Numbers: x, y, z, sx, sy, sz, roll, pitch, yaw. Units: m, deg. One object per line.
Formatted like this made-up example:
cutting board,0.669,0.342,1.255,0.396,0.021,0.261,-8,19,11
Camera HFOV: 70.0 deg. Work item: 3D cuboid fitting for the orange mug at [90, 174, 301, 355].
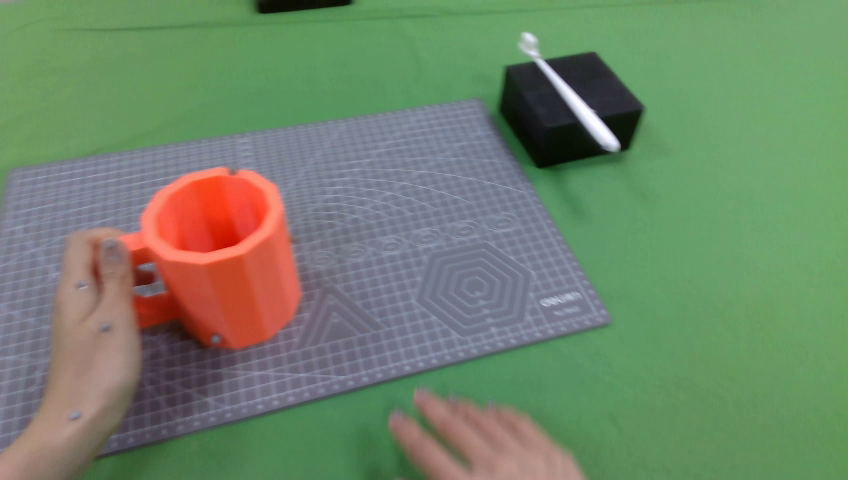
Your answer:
orange mug,-0.152,0.022,0.415,0.126,0.101,0.082,-14,50,-19

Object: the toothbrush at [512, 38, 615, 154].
toothbrush,0.127,-0.138,0.564,0.014,0.017,0.180,-12,50,-17
